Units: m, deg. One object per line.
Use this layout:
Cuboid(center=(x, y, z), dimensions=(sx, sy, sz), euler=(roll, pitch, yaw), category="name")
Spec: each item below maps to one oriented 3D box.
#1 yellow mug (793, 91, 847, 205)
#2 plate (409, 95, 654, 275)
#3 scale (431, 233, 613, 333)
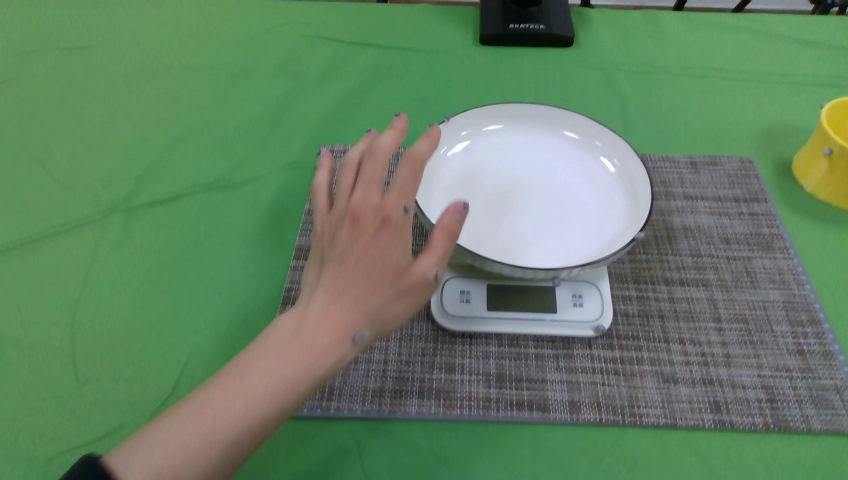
Cuboid(center=(0.437, -0.081, 0.582), dimensions=(0.100, 0.064, 0.129), euler=(-34, 58, -24), category="yellow mug")
Cuboid(center=(0.090, -0.050, 0.530), dimensions=(0.209, 0.038, 0.207), euler=(0, 50, 0), category="plate")
Cuboid(center=(0.084, -0.010, 0.540), dimensions=(0.148, 0.032, 0.199), euler=(3, 50, 2), category="scale")
